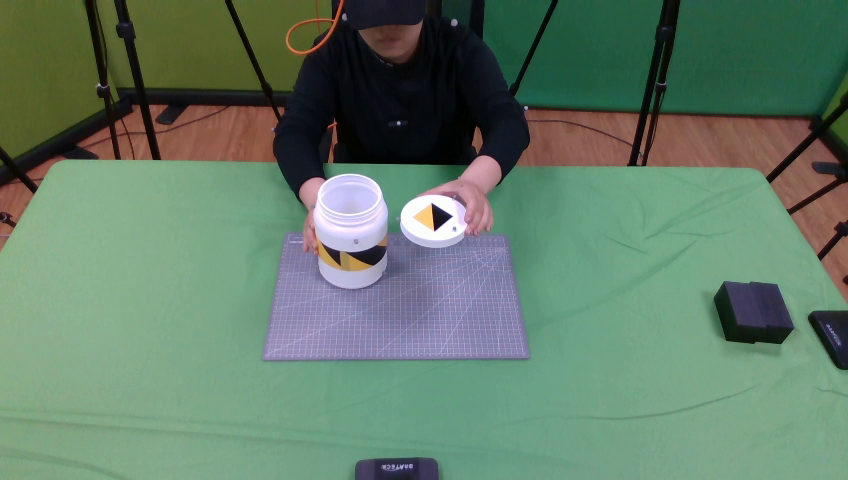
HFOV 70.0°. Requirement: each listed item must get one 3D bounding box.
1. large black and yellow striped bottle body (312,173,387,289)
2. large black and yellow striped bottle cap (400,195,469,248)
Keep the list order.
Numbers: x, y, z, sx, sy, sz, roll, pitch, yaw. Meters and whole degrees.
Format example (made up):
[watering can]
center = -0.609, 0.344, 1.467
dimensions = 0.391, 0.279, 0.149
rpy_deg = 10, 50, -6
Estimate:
[large black and yellow striped bottle body]
center = -0.131, -0.016, 1.087
dimensions = 0.131, 0.185, 0.130
rpy_deg = 2, 46, -2
[large black and yellow striped bottle cap]
center = 0.018, -0.033, 1.003
dimensions = 0.115, 0.019, 0.114
rpy_deg = 1, 44, -1
